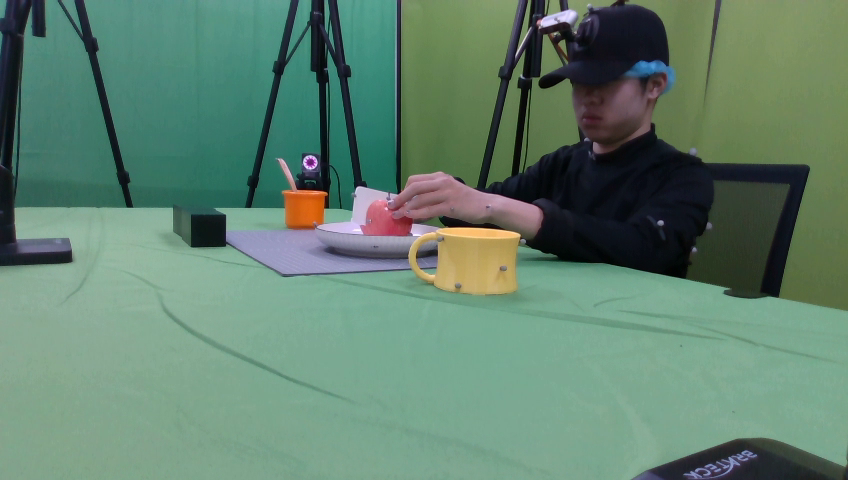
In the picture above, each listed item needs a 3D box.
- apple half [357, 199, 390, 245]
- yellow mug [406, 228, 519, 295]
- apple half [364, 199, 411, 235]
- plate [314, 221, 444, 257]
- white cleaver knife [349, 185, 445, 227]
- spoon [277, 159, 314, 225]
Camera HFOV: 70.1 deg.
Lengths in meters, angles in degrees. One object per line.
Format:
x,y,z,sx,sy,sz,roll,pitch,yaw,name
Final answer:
-0.085,-0.029,0.948,0.032,0.081,0.081,4,7,28,apple half
0.044,0.022,0.707,0.131,0.064,0.100,2,7,5,yellow mug
-0.049,-0.024,0.928,0.053,0.074,0.081,12,5,28,apple half
-0.066,-0.002,0.948,0.209,0.038,0.209,3,7,0,plate
-0.040,-0.048,1.001,0.021,0.066,0.288,6,3,30,white cleaver knife
-0.272,-0.103,1.260,0.042,0.193,0.021,-4,-34,-33,spoon
